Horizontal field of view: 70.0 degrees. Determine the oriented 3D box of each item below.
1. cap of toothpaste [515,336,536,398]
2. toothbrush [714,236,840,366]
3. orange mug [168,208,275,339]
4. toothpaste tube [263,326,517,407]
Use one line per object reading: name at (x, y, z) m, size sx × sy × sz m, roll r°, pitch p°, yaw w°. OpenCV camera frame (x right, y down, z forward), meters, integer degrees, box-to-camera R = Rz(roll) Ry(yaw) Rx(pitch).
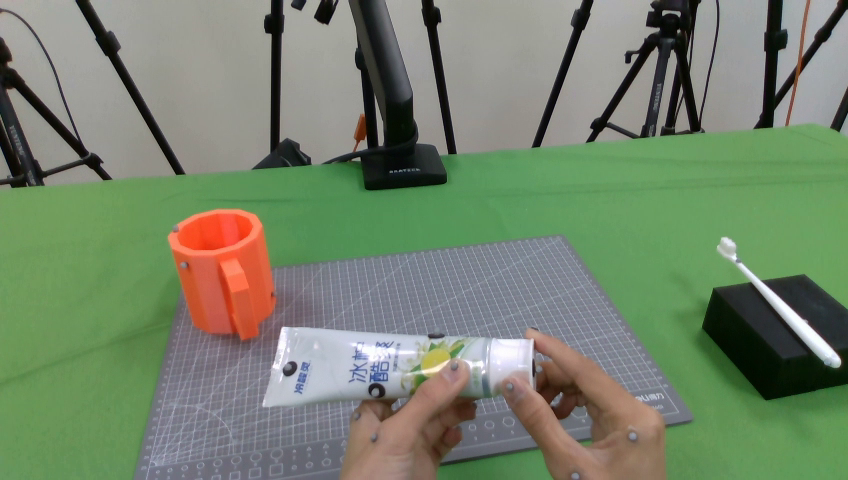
cap of toothpaste at (0.059, 0.073, 0.352) m, size 0.011 × 0.037 × 0.037 m, roll -3°, pitch 32°, yaw 11°
toothbrush at (0.319, 0.049, 0.558) m, size 0.014 × 0.017 × 0.180 m, roll -1°, pitch 33°, yaw -8°
orange mug at (-0.192, 0.037, 0.596) m, size 0.084 × 0.101 × 0.125 m, roll -17°, pitch 33°, yaw -24°
toothpaste tube at (-0.018, 0.075, 0.370) m, size 0.165 × 0.035 × 0.054 m, roll -3°, pitch 51°, yaw 12°
